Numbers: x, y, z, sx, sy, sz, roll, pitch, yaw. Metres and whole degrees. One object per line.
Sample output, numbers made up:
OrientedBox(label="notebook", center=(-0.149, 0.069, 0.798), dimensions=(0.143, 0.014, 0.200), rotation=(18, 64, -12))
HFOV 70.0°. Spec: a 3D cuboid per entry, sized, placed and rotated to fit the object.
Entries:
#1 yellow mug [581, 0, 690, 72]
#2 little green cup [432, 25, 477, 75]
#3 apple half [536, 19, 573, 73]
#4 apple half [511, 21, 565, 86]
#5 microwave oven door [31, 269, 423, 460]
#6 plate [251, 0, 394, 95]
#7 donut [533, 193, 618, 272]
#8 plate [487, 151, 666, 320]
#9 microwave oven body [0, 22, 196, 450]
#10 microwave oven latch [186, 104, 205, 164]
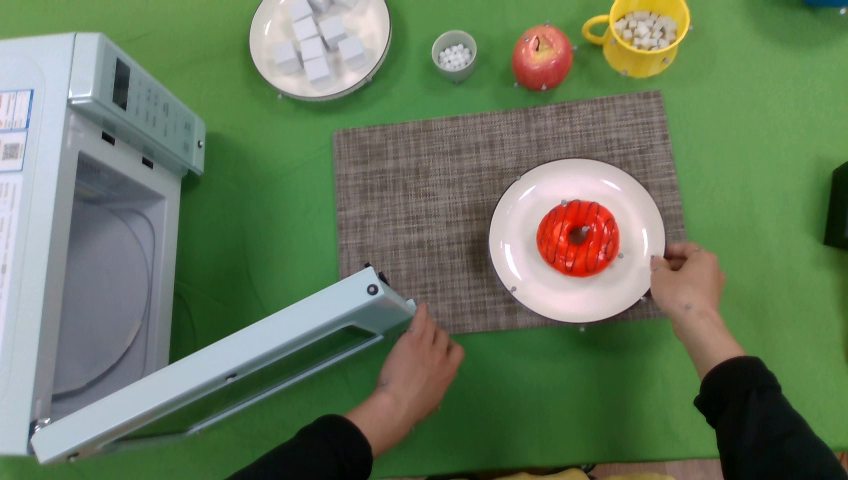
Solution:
OrientedBox(label="yellow mug", center=(0.274, -0.282, 0.798), dimensions=(0.130, 0.064, 0.099), rotation=(5, 78, 9))
OrientedBox(label="little green cup", center=(0.043, -0.260, 0.838), dimensions=(0.061, 0.039, 0.061), rotation=(-2, 78, 8))
OrientedBox(label="apple half", center=(0.177, -0.260, 0.802), dimensions=(0.033, 0.082, 0.081), rotation=(-33, 75, 4))
OrientedBox(label="apple half", center=(0.144, -0.239, 0.803), dimensions=(0.053, 0.075, 0.080), rotation=(-32, 79, 5))
OrientedBox(label="microwave oven door", center=(-0.183, 0.136, 0.660), dimensions=(0.356, 0.245, 0.039), rotation=(-27, 75, 1))
OrientedBox(label="plate", center=(-0.143, -0.301, 0.871), dimensions=(0.207, 0.039, 0.206), rotation=(-2, 78, 7))
OrientedBox(label="donut", center=(0.181, -0.008, 0.725), dimensions=(0.099, 0.048, 0.098), rotation=(-2, 78, 11))
OrientedBox(label="plate", center=(0.181, -0.005, 0.736), dimensions=(0.209, 0.038, 0.208), rotation=(-3, 76, 11))
OrientedBox(label="microwave oven body", center=(-0.481, 0.012, 0.731), dimensions=(0.326, 0.261, 0.439), rotation=(-3, 78, 7))
OrientedBox(label="microwave oven latch", center=(-0.324, -0.147, 0.843), dimensions=(0.030, 0.029, 0.079), rotation=(-1, 79, 7))
